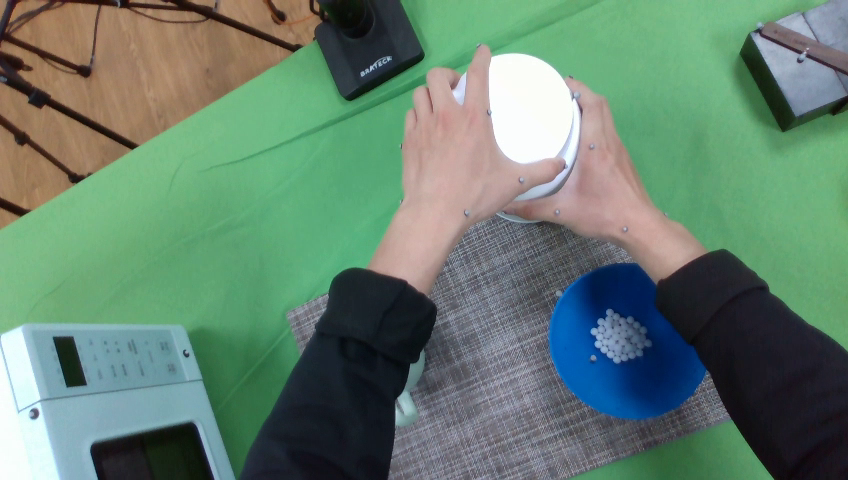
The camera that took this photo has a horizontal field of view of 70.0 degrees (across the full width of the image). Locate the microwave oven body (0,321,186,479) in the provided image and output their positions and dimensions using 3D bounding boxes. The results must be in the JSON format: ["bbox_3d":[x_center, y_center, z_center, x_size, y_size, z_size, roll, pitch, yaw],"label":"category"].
[{"bbox_3d":[-0.404,0.353,0.676,0.326,0.261,0.439,-27,77,11],"label":"microwave oven body"}]

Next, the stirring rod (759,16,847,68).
[{"bbox_3d":[0.406,-0.172,0.578,0.175,0.006,0.014,34,128,17],"label":"stirring rod"}]

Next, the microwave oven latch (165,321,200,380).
[{"bbox_3d":[-0.316,0.143,0.776,0.030,0.029,0.079,-27,78,11],"label":"microwave oven latch"}]

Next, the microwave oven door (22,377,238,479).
[{"bbox_3d":[-0.261,0.325,0.632,0.039,0.245,0.354,-27,76,12],"label":"microwave oven door"}]

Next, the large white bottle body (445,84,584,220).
[{"bbox_3d":[0.094,-0.097,0.613,0.130,0.185,0.130,-2,83,15],"label":"large white bottle body"}]

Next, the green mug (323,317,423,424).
[{"bbox_3d":[-0.047,0.146,0.676,0.092,0.105,0.124,-34,76,9],"label":"green mug"}]

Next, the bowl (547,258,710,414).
[{"bbox_3d":[0.206,0.097,0.620,0.151,0.077,0.151,-2,83,17],"label":"bowl"}]

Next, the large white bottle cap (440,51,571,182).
[{"bbox_3d":[0.071,-0.109,0.532,0.114,0.018,0.114,-2,83,15],"label":"large white bottle cap"}]
